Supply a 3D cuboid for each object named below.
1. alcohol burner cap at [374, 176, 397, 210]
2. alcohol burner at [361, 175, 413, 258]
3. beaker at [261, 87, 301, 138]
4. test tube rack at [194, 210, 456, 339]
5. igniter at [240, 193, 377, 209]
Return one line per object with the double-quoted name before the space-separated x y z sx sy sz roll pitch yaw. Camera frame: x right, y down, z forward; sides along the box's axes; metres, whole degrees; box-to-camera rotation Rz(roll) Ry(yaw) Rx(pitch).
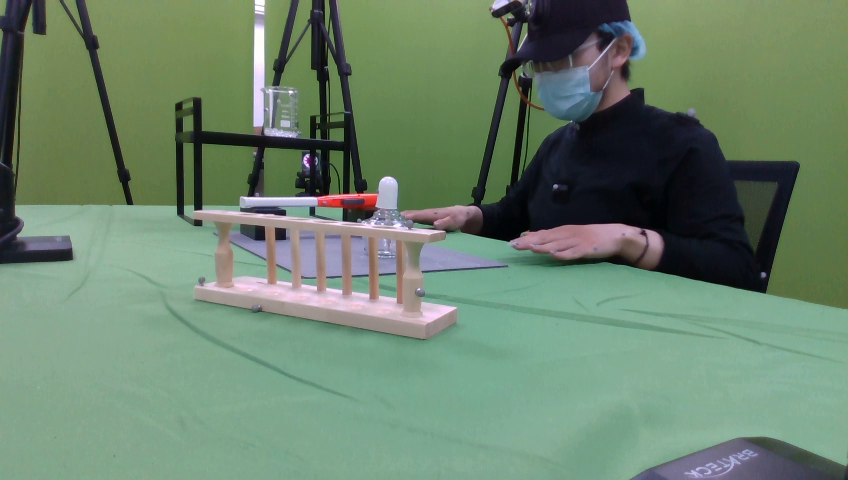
"alcohol burner cap" -0.054 -0.068 0.866 0.034 0.048 0.034 6 9 -1
"alcohol burner" -0.054 -0.034 0.870 0.078 0.119 0.078 1 9 0
"beaker" -0.298 -0.263 1.255 0.084 0.100 0.073 -5 10 -40
"test tube rack" -0.093 0.023 0.545 0.241 0.085 0.067 6 8 25
"igniter" -0.188 -0.070 1.078 0.278 0.025 0.057 -5 11 -35
